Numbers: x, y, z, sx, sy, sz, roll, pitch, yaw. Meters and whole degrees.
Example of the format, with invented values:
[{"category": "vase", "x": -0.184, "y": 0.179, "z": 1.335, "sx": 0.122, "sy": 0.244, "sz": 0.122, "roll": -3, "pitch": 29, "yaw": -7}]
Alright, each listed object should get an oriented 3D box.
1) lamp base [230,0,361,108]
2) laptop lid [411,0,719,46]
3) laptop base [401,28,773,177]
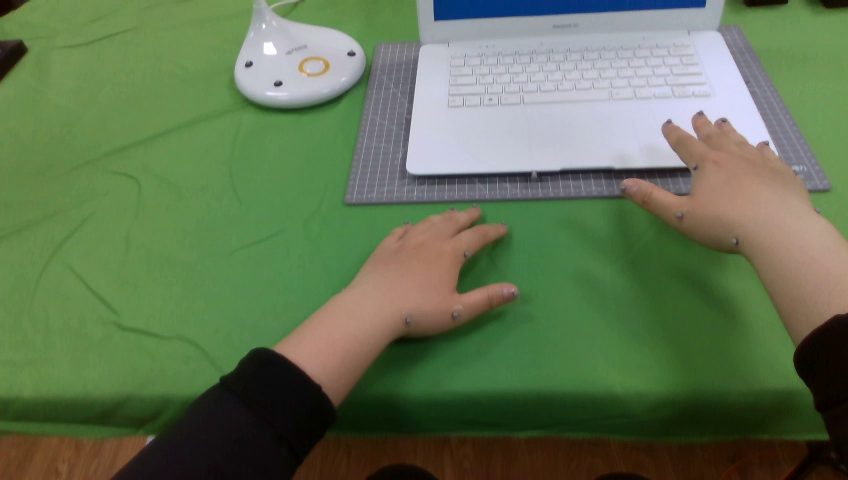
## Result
[{"category": "lamp base", "x": -0.173, "y": -0.269, "z": 0.694, "sx": 0.177, "sy": 0.182, "sz": 0.160, "roll": 30, "pitch": 57, "yaw": 32}, {"category": "laptop lid", "x": 0.154, "y": -0.330, "z": 0.658, "sx": 0.356, "sy": 0.244, "sz": 0.013, "roll": -3, "pitch": 40, "yaw": 6}, {"category": "laptop base", "x": 0.158, "y": -0.151, "z": 0.656, "sx": 0.354, "sy": 0.023, "sz": 0.233, "roll": -1, "pitch": 51, "yaw": 5}]
